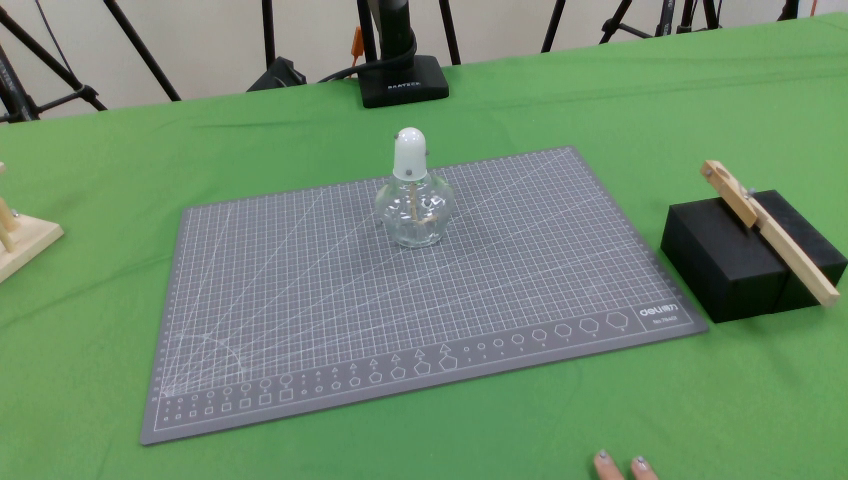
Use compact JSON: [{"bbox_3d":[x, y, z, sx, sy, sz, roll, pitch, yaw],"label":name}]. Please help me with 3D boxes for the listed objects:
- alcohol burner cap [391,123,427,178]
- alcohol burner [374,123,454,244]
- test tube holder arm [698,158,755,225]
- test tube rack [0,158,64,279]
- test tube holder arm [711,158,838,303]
[{"bbox_3d":[-0.013,-0.082,0.550,0.034,0.048,0.033,1,40,-1],"label":"alcohol burner cap"},{"bbox_3d":[-0.011,-0.056,0.574,0.078,0.120,0.077,-3,39,3],"label":"alcohol burner"},{"bbox_3d":[0.269,-0.045,0.536,0.010,0.015,0.087,-3,41,-10],"label":"test tube holder arm"},{"bbox_3d":[-0.463,0.025,0.548,0.066,0.086,0.241,13,44,19],"label":"test tube rack"},{"bbox_3d":[0.282,-0.016,0.504,0.013,0.015,0.176,-3,41,-10],"label":"test tube holder arm"}]
